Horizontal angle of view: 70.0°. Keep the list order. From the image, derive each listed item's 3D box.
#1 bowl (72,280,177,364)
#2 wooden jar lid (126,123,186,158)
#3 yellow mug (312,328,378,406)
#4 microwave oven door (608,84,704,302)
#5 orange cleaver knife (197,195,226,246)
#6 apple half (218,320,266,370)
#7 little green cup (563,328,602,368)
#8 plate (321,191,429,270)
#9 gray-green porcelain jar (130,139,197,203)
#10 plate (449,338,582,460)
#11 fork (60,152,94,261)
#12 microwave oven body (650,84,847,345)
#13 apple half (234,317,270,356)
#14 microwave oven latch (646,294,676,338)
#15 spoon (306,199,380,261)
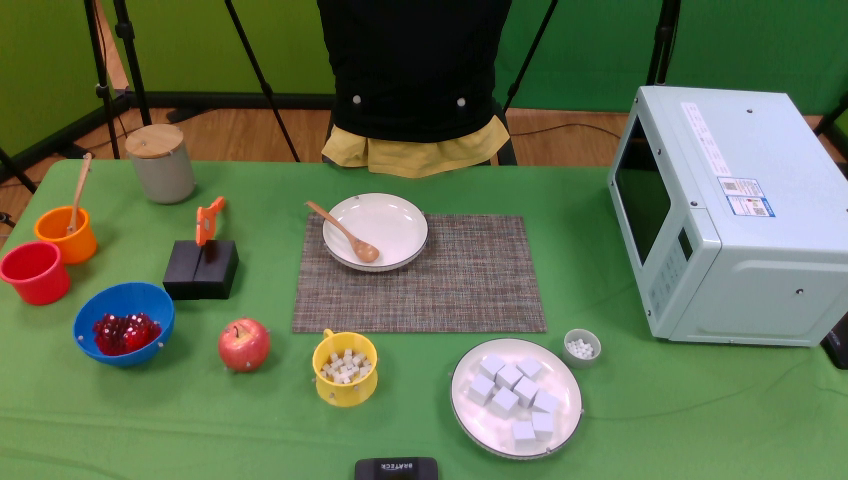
[{"bbox_3d":[-0.472,0.147,0.982,0.151,0.077,0.150,2,46,-2],"label":"bowl"},{"bbox_3d":[-0.519,-0.190,1.179,0.108,0.021,0.107,2,44,-2],"label":"wooden jar lid"},{"bbox_3d":[-0.132,0.193,0.971,0.100,0.064,0.130,-22,51,-22],"label":"yellow mug"},{"bbox_3d":[0.424,-0.096,1.138,0.039,0.245,0.353,3,46,-1],"label":"microwave oven door"},{"bbox_3d":[-0.404,-0.041,1.157,0.012,0.077,0.210,2,14,-7],"label":"orange cleaver knife"},{"bbox_3d":[-0.298,0.176,0.971,0.080,0.075,0.053,35,57,22],"label":"apple half"},{"bbox_3d":[0.265,0.184,1.025,0.061,0.039,0.061,1,46,-1],"label":"little green cup"},{"bbox_3d":[-0.094,-0.015,1.185,0.209,0.038,0.208,2,46,-2],"label":"plate"},{"bbox_3d":[-0.522,-0.148,1.224,0.106,0.127,0.105,2,46,-2],"label":"gray-green porcelain jar"},{"bbox_3d":[0.141,0.251,0.956,0.208,0.039,0.206,2,46,-2],"label":"plate"},{"bbox_3d":[-0.638,-0.063,1.119,0.028,0.018,0.207,12,90,11],"label":"fork"},{"bbox_3d":[0.568,-0.054,1.116,0.326,0.261,0.439,2,46,-1],"label":"microwave oven body"},{"bbox_3d":[-0.273,0.154,0.992,0.081,0.082,0.033,33,56,25],"label":"apple half"},{"bbox_3d":[0.412,0.133,1.060,0.030,0.029,0.078,4,46,1],"label":"microwave oven latch"},{"bbox_3d":[-0.160,-0.023,1.171,0.193,0.022,0.041,41,64,15],"label":"spoon"}]
